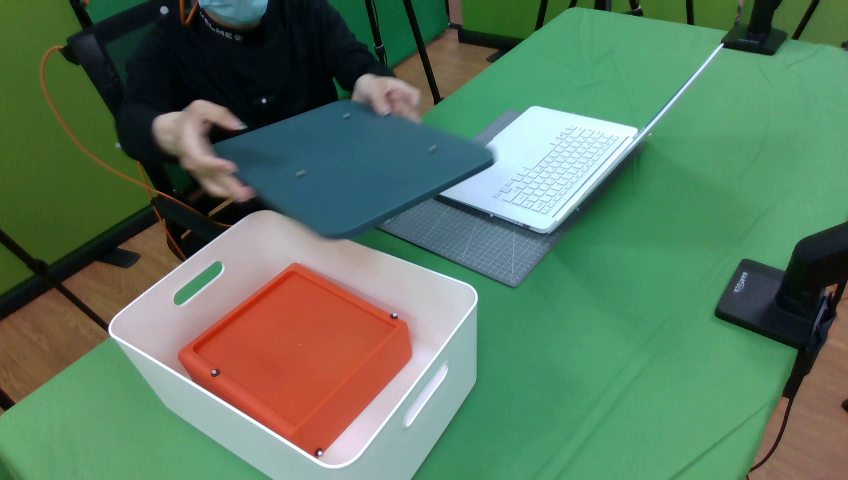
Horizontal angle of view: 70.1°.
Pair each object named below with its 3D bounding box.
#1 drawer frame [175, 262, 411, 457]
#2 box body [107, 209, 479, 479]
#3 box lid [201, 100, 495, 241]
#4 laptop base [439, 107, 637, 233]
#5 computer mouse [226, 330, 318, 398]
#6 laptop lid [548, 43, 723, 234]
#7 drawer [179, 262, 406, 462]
[{"bbox_3d":[-0.161,0.145,0.770,0.212,0.083,0.202,24,49,30],"label":"drawer frame"},{"bbox_3d":[-0.140,0.136,0.725,0.361,0.161,0.254,19,47,28],"label":"box body"},{"bbox_3d":[-0.116,-0.113,0.815,0.264,0.015,0.368,-28,38,-31],"label":"box lid"},{"bbox_3d":[0.210,-0.142,1.111,0.233,0.023,0.355,21,47,34],"label":"laptop base"},{"bbox_3d":[-0.202,0.158,0.804,0.118,0.041,0.062,-29,40,-33],"label":"computer mouse"},{"bbox_3d":[0.336,-0.160,0.956,0.013,0.241,0.358,43,54,8],"label":"laptop lid"},{"bbox_3d":[-0.163,0.143,0.767,0.210,0.073,0.195,23,50,33],"label":"drawer"}]
